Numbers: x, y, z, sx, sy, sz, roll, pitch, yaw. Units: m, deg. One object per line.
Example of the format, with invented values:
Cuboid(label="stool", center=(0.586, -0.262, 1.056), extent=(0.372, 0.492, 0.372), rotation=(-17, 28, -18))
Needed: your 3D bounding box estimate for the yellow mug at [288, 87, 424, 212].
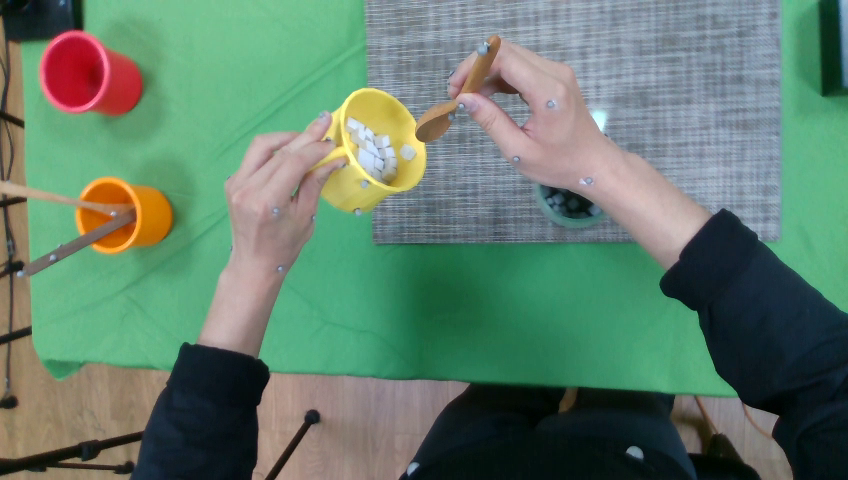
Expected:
Cuboid(label="yellow mug", center=(-0.067, -0.078, 0.555), extent=(0.064, 0.131, 0.100), rotation=(-24, 91, 46))

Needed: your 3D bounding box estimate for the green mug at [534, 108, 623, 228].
Cuboid(label="green mug", center=(0.166, -0.075, 0.630), extent=(0.092, 0.105, 0.125), rotation=(17, 95, 11))

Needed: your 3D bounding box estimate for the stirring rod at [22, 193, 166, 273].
Cuboid(label="stirring rod", center=(-0.391, -0.011, 0.728), extent=(0.176, 0.006, 0.014), rotation=(-37, 85, -32))

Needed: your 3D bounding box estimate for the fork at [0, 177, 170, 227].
Cuboid(label="fork", center=(-0.414, -0.047, 0.724), extent=(0.209, 0.018, 0.028), rotation=(14, 93, -33))

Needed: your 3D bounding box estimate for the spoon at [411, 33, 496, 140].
Cuboid(label="spoon", center=(0.023, -0.109, 0.456), extent=(0.041, 0.193, 0.021), rotation=(-26, 92, -13))
